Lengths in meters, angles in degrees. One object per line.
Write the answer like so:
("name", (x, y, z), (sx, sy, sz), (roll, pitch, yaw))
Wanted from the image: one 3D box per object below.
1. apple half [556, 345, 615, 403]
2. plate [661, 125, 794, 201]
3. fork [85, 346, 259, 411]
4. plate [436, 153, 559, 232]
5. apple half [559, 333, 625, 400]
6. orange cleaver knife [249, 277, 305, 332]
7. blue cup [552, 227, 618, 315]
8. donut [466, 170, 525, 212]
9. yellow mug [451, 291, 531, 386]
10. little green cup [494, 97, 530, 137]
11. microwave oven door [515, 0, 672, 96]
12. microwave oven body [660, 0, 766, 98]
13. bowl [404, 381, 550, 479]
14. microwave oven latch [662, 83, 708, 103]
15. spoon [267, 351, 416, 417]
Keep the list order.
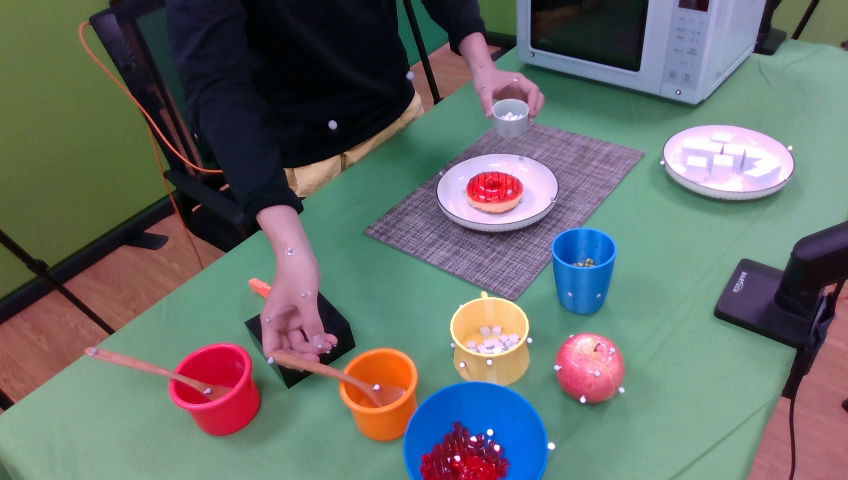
("apple half", (0.181, 0.166, 0.709), (0.080, 0.081, 0.033), (29, 50, 35))
("plate", (0.513, -0.128, 1.035), (0.207, 0.039, 0.206), (-4, 40, 4))
("fork", (-0.298, 0.166, 0.727), (0.209, 0.018, 0.028), (28, 48, -23))
("plate", (0.125, -0.078, 1.029), (0.209, 0.038, 0.208), (-4, 40, 4))
("apple half", (0.209, 0.147, 0.730), (0.080, 0.075, 0.053), (26, 48, 38))
("orange cleaver knife", (-0.210, 0.088, 0.855), (0.012, 0.077, 0.210), (-28, 15, -25))
("blue cup", (0.218, 0.047, 0.825), (0.092, 0.101, 0.092), (-6, 40, 5))
("donut", (0.121, -0.083, 1.019), (0.099, 0.048, 0.098), (-4, 39, 4))
("yellow mug", (0.086, 0.120, 0.786), (0.100, 0.064, 0.130), (-7, 39, 2))
("little green cup", (0.144, -0.203, 1.004), (0.061, 0.039, 0.061), (0, 51, 0))
("microwave oven door", (0.344, -0.455, 1.259), (0.353, 0.245, 0.039), (26, 51, 33))
("microwave oven body", (0.473, -0.513, 1.317), (0.438, 0.261, 0.327), (26, 51, 34))
("bowl", (0.058, 0.235, 0.645), (0.151, 0.077, 0.150), (-4, 39, 4))
("microwave oven latch", (0.518, -0.297, 1.205), (0.078, 0.029, 0.030), (29, 53, 36))
("spoon", (-0.091, 0.163, 0.699), (0.021, 0.195, 0.041), (-43, 31, 28))
